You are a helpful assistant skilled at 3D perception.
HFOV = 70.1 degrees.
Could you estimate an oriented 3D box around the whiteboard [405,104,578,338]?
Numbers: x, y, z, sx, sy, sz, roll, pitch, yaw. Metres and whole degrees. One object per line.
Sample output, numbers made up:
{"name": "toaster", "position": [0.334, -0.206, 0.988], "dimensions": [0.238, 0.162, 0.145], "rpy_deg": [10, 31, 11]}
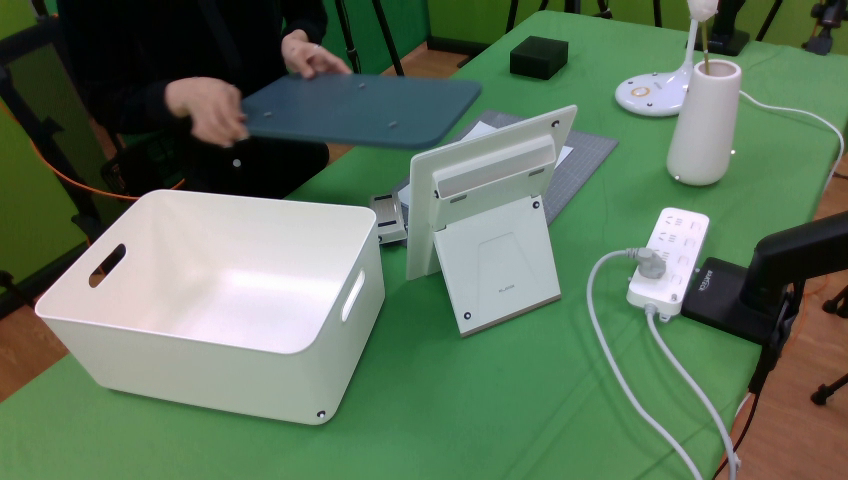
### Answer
{"name": "whiteboard", "position": [0.102, 0.003, 0.787], "dimensions": [0.218, 0.306, 0.143], "rpy_deg": [-19, 62, -14]}

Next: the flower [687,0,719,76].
{"name": "flower", "position": [0.436, -0.242, 0.934], "dimensions": [0.038, 0.364, 0.043], "rpy_deg": [-24, 49, 9]}

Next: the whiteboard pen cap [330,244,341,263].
{"name": "whiteboard pen cap", "position": [-0.142, 0.022, 0.976], "dimensions": [0.018, 0.018, 0.033], "rpy_deg": [-7, 37, -1]}

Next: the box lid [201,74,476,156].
{"name": "box lid", "position": [-0.124, -0.201, 0.934], "dimensions": [0.370, 0.015, 0.263], "rpy_deg": [9, 35, 20]}

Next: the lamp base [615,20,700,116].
{"name": "lamp base", "position": [0.484, -0.364, 1.211], "dimensions": [0.180, 0.181, 0.159], "rpy_deg": [-15, 41, -14]}

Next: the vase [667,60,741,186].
{"name": "vase", "position": [0.463, -0.189, 0.994], "dimensions": [0.098, 0.201, 0.097], "rpy_deg": [-4, 40, 4]}

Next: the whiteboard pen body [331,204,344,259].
{"name": "whiteboard pen body", "position": [-0.146, -0.015, 1.020], "dimensions": [0.017, 0.017, 0.140], "rpy_deg": [-6, 41, 1]}

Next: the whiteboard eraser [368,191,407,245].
{"name": "whiteboard eraser", "position": [-0.061, -0.035, 1.006], "dimensions": [0.056, 0.042, 0.112], "rpy_deg": [-9, 40, -4]}

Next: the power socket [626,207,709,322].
{"name": "power socket", "position": [0.360, 0.026, 0.886], "dimensions": [0.072, 0.033, 0.227], "rpy_deg": [17, 46, 27]}

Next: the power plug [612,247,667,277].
{"name": "power plug", "position": [0.306, 0.031, 0.852], "dimensions": [0.072, 0.053, 0.035], "rpy_deg": [21, 48, 38]}

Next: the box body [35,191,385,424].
{"name": "box body", "position": [-0.254, 0.082, 0.807], "dimensions": [0.363, 0.161, 0.253], "rpy_deg": [5, 42, 14]}
